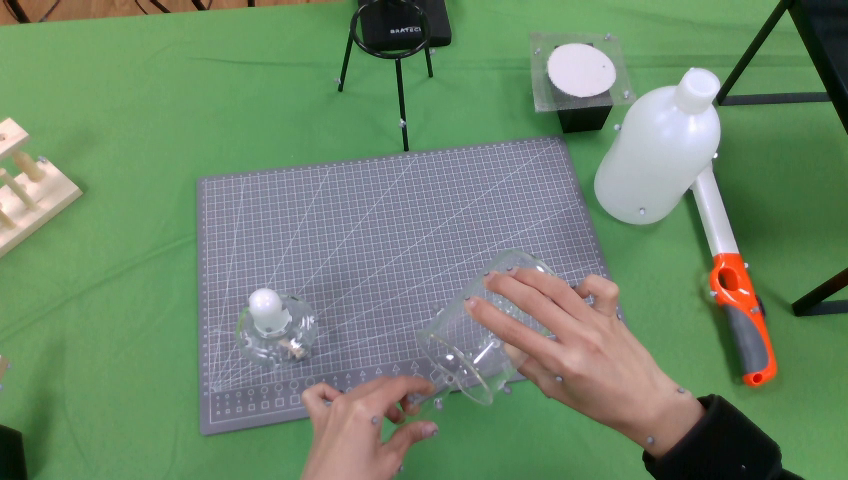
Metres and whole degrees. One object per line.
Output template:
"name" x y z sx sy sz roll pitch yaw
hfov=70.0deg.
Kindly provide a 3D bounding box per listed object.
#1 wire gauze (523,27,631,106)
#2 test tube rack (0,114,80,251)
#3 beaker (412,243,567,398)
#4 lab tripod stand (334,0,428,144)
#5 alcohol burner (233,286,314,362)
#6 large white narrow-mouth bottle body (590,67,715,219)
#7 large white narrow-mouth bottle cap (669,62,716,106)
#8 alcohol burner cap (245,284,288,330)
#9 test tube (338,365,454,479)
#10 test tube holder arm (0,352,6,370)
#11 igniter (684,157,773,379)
"wire gauze" 0.187 -0.218 0.752 0.121 0.011 0.124 -1 63 -3
"test tube rack" -0.497 -0.014 0.626 0.066 0.086 0.242 37 68 14
"beaker" 0.052 0.058 0.457 0.073 0.084 0.100 41 70 16
"lab tripod stand" -0.041 -0.210 0.721 0.148 0.132 0.147 2 64 -4
"alcohol burner" -0.147 0.075 0.583 0.078 0.120 0.077 2 62 -4
"large white narrow-mouth bottle body" 0.251 -0.108 0.652 0.102 0.196 0.101 1 63 -2
"large white narrow-mouth bottle cap" 0.254 -0.148 0.576 0.038 0.024 0.037 1 63 -2
"alcohol burner cap" -0.145 0.059 0.550 0.034 0.048 0.033 0 58 0
"test tube" -0.026 0.157 0.502 0.017 0.017 0.150 48 112 19
"test tube holder arm" -0.402 0.182 0.520 0.013 0.015 0.177 1 63 7
"igniter" 0.338 0.021 0.687 0.057 0.025 0.274 2 63 -14
